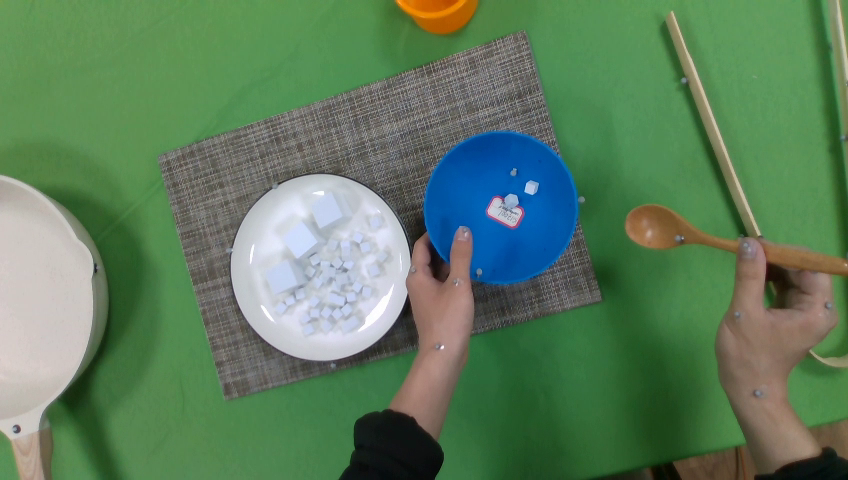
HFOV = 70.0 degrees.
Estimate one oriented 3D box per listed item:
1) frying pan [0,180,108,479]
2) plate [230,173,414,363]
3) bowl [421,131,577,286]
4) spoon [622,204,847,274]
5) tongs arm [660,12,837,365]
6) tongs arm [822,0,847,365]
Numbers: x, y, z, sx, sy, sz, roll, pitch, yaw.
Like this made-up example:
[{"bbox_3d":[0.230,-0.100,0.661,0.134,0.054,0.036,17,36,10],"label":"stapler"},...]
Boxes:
[{"bbox_3d":[-0.476,0.171,0.705,0.306,0.103,0.485,-19,80,10],"label":"frying pan"},{"bbox_3d":[-0.111,0.030,0.672,0.207,0.039,0.207,0,91,10],"label":"plate"},{"bbox_3d":[0.077,-0.030,0.620,0.151,0.077,0.151,0,91,9],"label":"bowl"},{"bbox_3d":[0.238,0.002,0.484,0.022,0.192,0.042,-13,108,-26],"label":"spoon"},{"bbox_3d":[0.320,-0.051,0.610,0.028,0.028,0.387,-23,88,7],"label":"tongs arm"},{"bbox_3d":[0.397,-0.071,0.593,0.050,0.026,0.384,-9,91,10],"label":"tongs arm"}]
